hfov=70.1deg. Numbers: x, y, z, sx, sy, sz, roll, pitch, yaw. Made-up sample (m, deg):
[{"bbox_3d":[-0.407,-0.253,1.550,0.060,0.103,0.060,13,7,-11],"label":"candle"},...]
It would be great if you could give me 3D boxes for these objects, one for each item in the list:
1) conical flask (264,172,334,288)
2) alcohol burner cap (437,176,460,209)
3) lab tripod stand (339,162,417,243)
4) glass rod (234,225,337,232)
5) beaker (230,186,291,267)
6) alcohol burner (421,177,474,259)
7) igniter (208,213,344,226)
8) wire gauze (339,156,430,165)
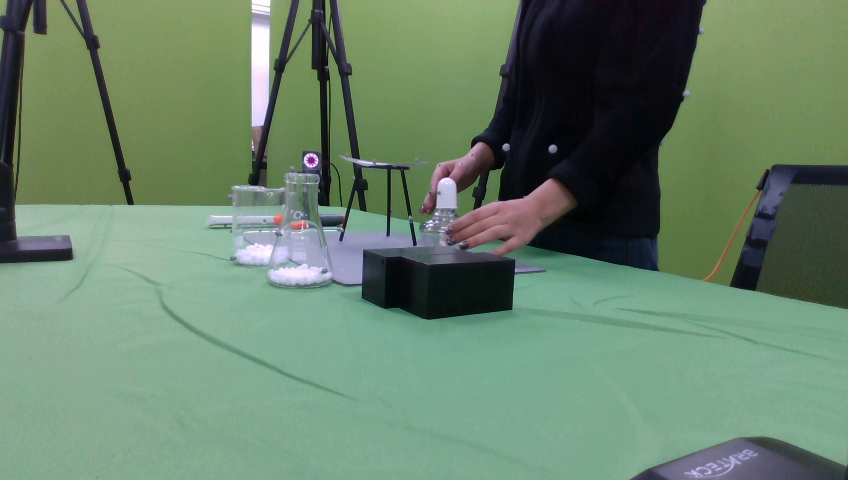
[{"bbox_3d":[-0.136,-0.013,0.660,0.075,0.122,0.075,2,7,0],"label":"conical flask"},{"bbox_3d":[0.035,-0.068,0.879,0.034,0.048,0.034,0,1,0],"label":"alcohol burner cap"},{"bbox_3d":[-0.067,-0.065,1.027,0.148,0.131,0.148,4,7,0],"label":"lab tripod stand"},{"bbox_3d":[-0.256,-0.022,1.136,0.201,0.008,0.008,-3,9,-33],"label":"glass rod"},{"bbox_3d":[-0.209,-0.019,0.778,0.074,0.100,0.084,3,6,4],"label":"beaker"},{"bbox_3d":[0.035,-0.033,0.883,0.078,0.119,0.078,4,6,0],"label":"alcohol burner"},{"bbox_3d":[-0.283,-0.041,1.200,0.278,0.025,0.057,-2,-2,-34],"label":"igniter"},{"bbox_3d":[-0.067,-0.132,1.022,0.122,0.011,0.124,-1,9,-31],"label":"wire gauze"}]
